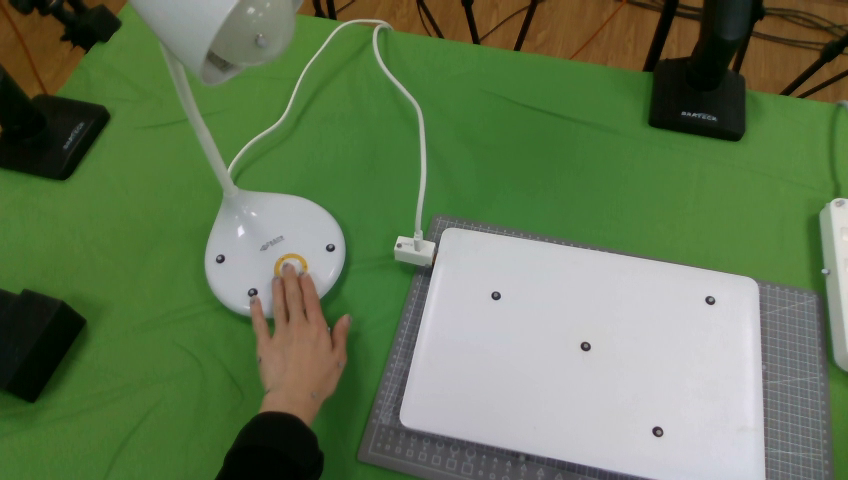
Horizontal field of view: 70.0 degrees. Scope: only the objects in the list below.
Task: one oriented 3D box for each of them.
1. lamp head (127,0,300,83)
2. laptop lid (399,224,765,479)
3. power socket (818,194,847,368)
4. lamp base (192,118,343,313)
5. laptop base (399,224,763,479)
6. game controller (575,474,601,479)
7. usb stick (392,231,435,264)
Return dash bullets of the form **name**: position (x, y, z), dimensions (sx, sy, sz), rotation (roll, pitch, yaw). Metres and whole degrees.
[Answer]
- **lamp head**: position (-0.144, -0.175, 0.371), dimensions (0.123, 0.112, 0.112), rotation (39, 66, -4)
- **laptop lid**: position (0.167, 0.109, 0.631), dimensions (0.356, 0.013, 0.240), rotation (11, 63, 8)
- **power socket**: position (0.484, 0.044, 0.666), dimensions (0.072, 0.033, 0.225), rotation (11, 61, 7)
- **lamp base**: position (-0.186, -0.035, 0.642), dimensions (0.178, 0.182, 0.160), rotation (37, 67, 23)
- **laptop base**: position (0.168, 0.112, 0.642), dimensions (0.354, 0.023, 0.234), rotation (10, 64, 7)
- **game controller**: position (0.189, 0.267, 0.536), dimensions (0.155, 0.052, 0.096), rotation (10, 58, 7)
- **usb stick**: position (-0.006, 0.010, 0.690), dimensions (0.059, 0.027, 0.021), rotation (14, 56, 6)
